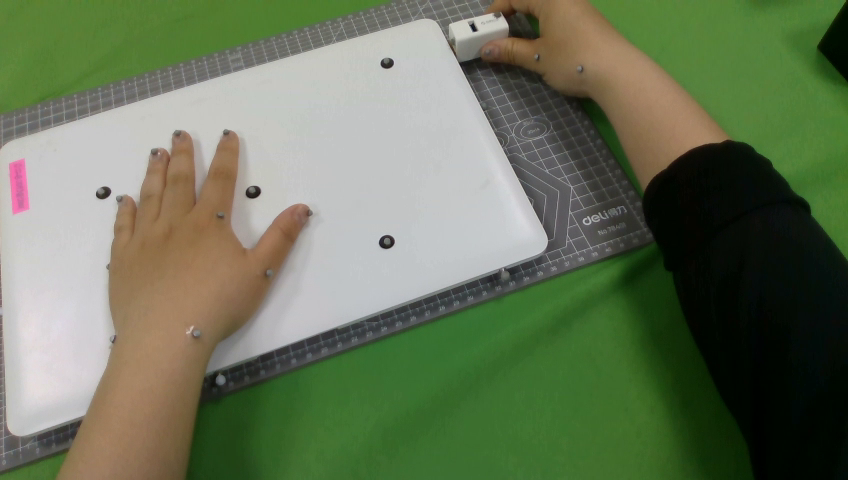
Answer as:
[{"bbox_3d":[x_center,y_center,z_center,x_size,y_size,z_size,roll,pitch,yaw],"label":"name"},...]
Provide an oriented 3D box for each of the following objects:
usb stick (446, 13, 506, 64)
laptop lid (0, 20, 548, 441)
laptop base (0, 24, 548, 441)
[{"bbox_3d":[0.035,-0.159,0.486,0.059,0.027,0.021,-19,57,-2],"label":"usb stick"},{"bbox_3d":[-0.118,-0.030,0.427,0.357,0.013,0.239,-18,64,-6],"label":"laptop lid"},{"bbox_3d":[-0.118,-0.027,0.437,0.354,0.023,0.233,-19,65,-7],"label":"laptop base"}]
